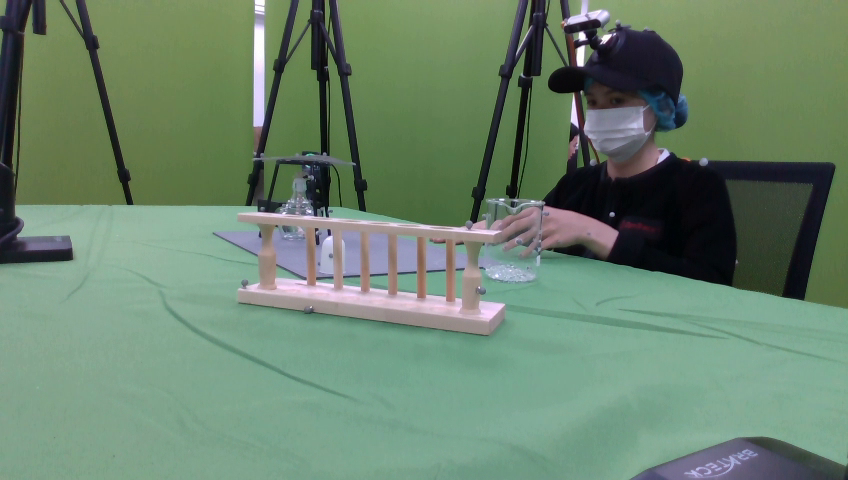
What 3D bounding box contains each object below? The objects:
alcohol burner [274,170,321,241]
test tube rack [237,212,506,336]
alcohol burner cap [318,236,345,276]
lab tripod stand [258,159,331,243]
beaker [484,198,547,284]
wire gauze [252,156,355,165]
[{"bbox_3d":[-0.211,-0.058,1.015,0.078,0.119,0.078,4,5,0],"label":"alcohol burner"},{"bbox_3d":[-0.049,0.024,0.552,0.242,0.085,0.067,5,8,18],"label":"test tube rack"},{"bbox_3d":[-0.110,0.019,0.723,0.034,0.048,0.034,2,6,0],"label":"alcohol burner cap"},{"bbox_3d":[-0.202,-0.067,1.010,0.148,0.131,0.148,2,5,0],"label":"lab tripod stand"},{"bbox_3d":[0.111,0.000,0.744,0.074,0.100,0.084,3,8,9],"label":"beaker"},{"bbox_3d":[-0.196,-0.133,0.999,0.121,0.011,0.125,4,5,22],"label":"wire gauze"}]
